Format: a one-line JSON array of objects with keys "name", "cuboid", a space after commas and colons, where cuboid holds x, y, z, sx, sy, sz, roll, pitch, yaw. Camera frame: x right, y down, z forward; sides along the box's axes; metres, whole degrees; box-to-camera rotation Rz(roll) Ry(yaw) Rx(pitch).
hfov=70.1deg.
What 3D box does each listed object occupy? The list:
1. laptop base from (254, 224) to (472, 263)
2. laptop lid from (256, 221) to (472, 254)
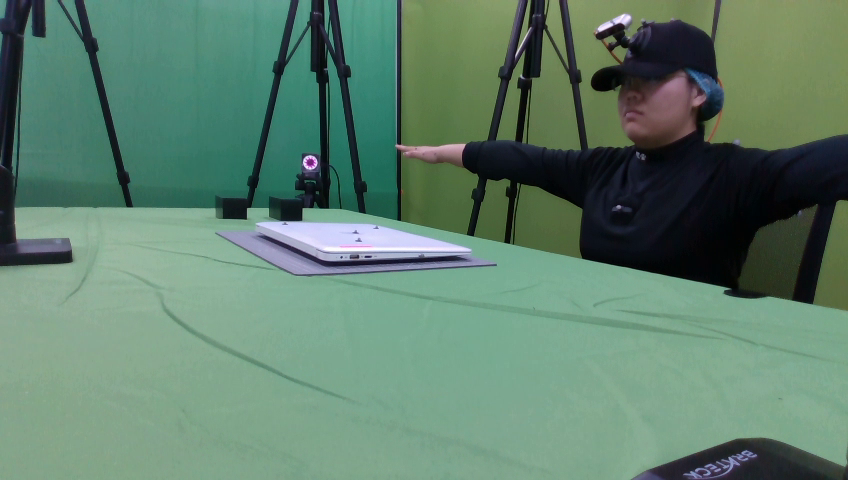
[{"name": "laptop base", "cuboid": [-0.115, 0.005, 0.973, 0.237, 0.023, 0.352, 2, 6, -31]}, {"name": "laptop lid", "cuboid": [-0.112, -0.007, 0.972, 0.243, 0.013, 0.355, 1, 7, -29]}]
